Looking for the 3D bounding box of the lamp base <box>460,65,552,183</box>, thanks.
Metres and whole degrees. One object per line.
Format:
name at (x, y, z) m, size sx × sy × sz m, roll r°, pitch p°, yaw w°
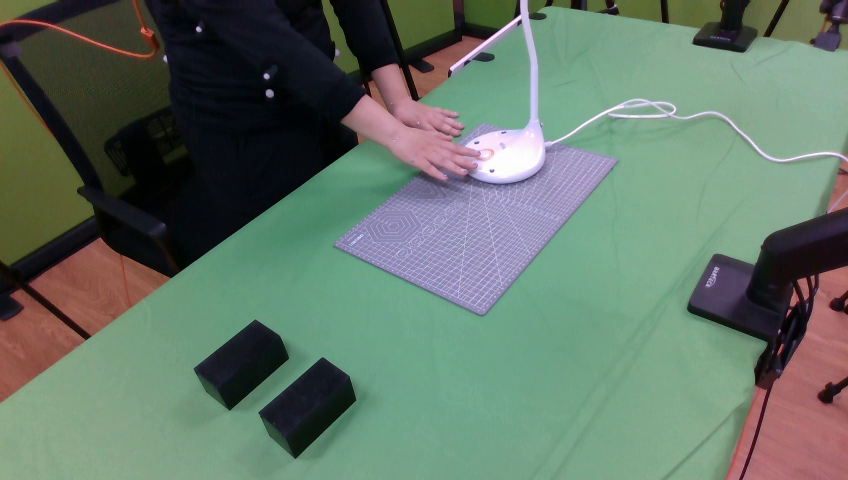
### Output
lamp base at (0.150, -0.218, 1.078) m, size 0.180 × 0.181 × 0.159 m, roll -19°, pitch 41°, yaw -17°
